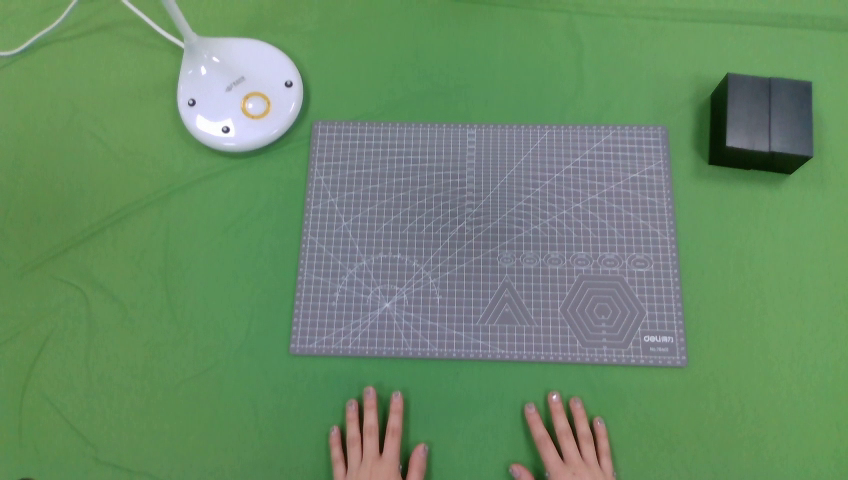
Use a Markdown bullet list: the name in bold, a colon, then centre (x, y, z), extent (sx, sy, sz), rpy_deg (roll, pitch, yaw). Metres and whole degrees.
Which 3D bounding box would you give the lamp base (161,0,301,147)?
- **lamp base**: centre (-0.252, -0.223, 0.713), extent (0.178, 0.181, 0.160), rpy_deg (35, 77, 14)
